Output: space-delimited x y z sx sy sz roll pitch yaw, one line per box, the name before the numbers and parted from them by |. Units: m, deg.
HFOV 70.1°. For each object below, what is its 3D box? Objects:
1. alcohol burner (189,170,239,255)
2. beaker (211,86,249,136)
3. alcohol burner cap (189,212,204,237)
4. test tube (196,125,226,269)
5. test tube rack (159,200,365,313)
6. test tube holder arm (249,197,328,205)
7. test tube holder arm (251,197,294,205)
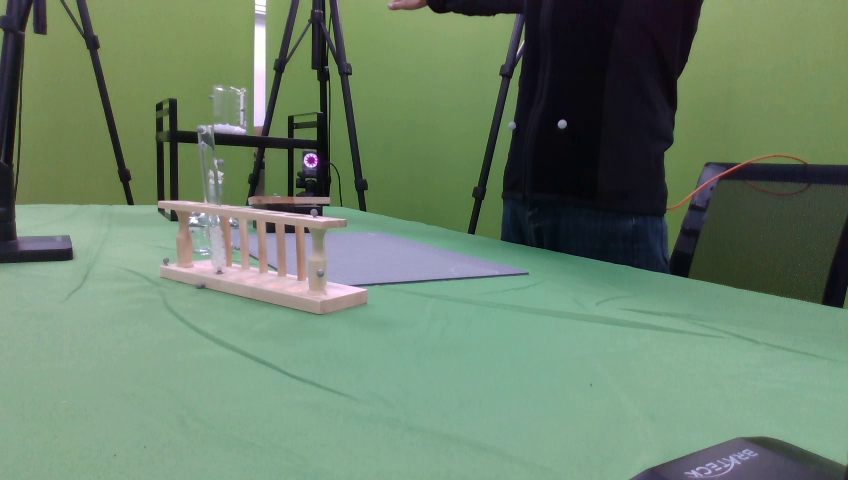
alcohol burner | -0.298 -0.039 0.852 0.078 0.119 0.078 3 6 0
beaker | -0.413 -0.274 1.297 0.074 0.100 0.083 -5 11 -44
alcohol burner cap | -0.389 -0.029 1.026 0.034 0.048 0.034 2 9 0
test tube | -0.220 -0.043 0.626 0.017 0.150 0.017 -2 10 1
test tube rack | -0.173 0.009 0.624 0.241 0.085 0.067 7 9 34
test tube holder arm | -0.253 -0.075 1.147 0.013 0.015 0.179 6 7 38
test tube holder arm | -0.277 -0.072 1.108 0.010 0.015 0.088 6 7 39
